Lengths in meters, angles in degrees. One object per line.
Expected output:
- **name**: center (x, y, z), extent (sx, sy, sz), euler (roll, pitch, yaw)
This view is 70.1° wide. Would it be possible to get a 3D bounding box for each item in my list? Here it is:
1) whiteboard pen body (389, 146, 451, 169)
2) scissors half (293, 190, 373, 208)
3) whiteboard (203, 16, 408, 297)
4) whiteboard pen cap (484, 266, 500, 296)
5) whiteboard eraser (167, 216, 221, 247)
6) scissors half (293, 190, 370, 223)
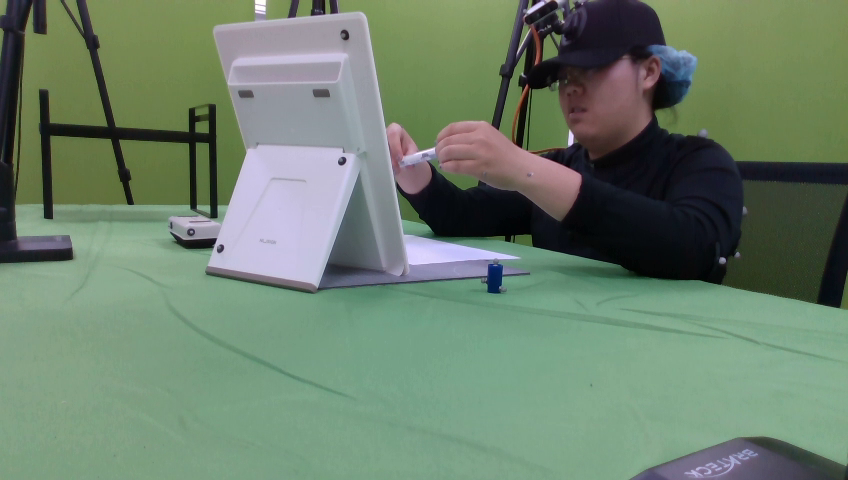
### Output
- **whiteboard pen body**: center (-0.012, -0.118, 0.880), extent (0.017, 0.017, 0.140), euler (-4, -2, -40)
- **scissors half**: center (-0.201, -0.096, 1.333), extent (0.175, 0.040, 0.013), euler (5, 18, -4)
- **whiteboard**: center (-0.166, -0.072, 0.669), extent (0.216, 0.305, 0.144), euler (8, 30, 30)
- **whiteboard pen cap**: center (0.075, 0.046, 0.667), extent (0.018, 0.033, 0.018), euler (2, 6, 0)
- **whiteboard eraser**: center (-0.350, -0.013, 0.920), extent (0.056, 0.042, 0.112), euler (0, 7, -35)
- **scissors half**: center (-0.205, -0.077, 1.338), extent (0.175, 0.040, 0.013), euler (22, 11, -8)
